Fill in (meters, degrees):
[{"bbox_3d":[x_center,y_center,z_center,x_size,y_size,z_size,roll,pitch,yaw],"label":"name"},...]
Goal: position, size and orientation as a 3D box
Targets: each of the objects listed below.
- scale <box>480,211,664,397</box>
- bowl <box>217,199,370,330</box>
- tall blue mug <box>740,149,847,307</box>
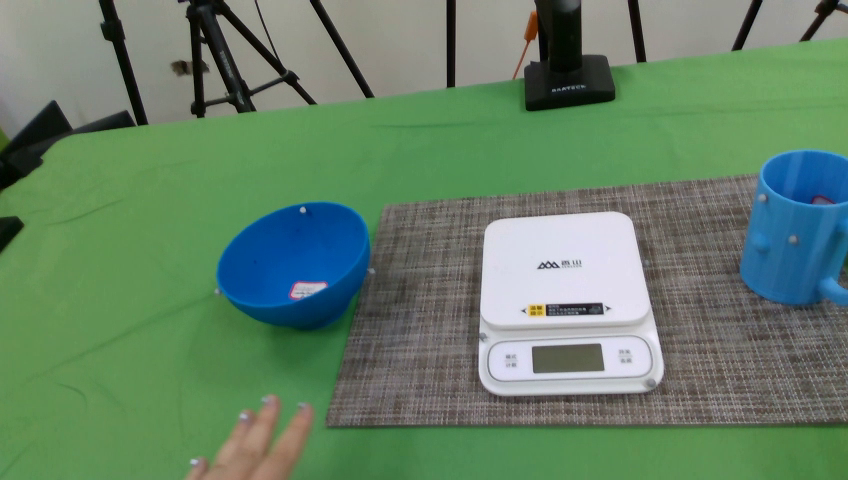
[{"bbox_3d":[0.127,0.050,0.552,0.148,0.032,0.199,-5,42,12],"label":"scale"},{"bbox_3d":[-0.120,0.037,0.609,0.151,0.077,0.150,-8,41,7],"label":"bowl"},{"bbox_3d":[0.324,-0.004,0.496,0.078,0.109,0.106,-39,46,-26],"label":"tall blue mug"}]
